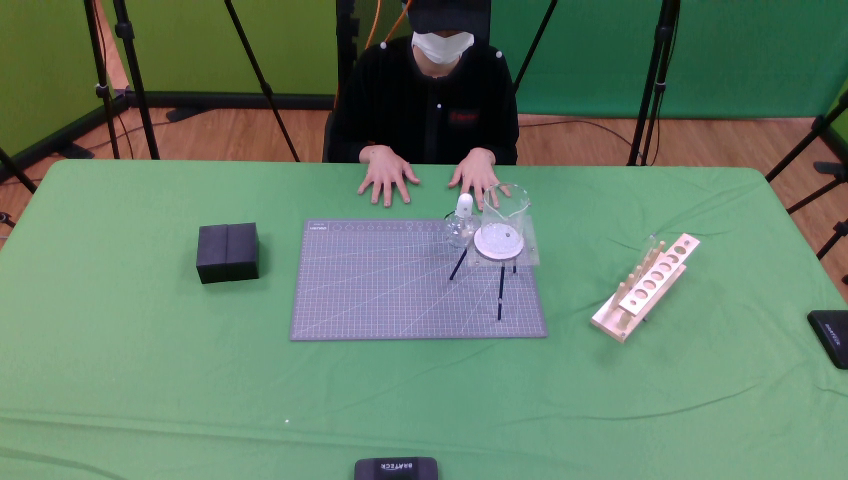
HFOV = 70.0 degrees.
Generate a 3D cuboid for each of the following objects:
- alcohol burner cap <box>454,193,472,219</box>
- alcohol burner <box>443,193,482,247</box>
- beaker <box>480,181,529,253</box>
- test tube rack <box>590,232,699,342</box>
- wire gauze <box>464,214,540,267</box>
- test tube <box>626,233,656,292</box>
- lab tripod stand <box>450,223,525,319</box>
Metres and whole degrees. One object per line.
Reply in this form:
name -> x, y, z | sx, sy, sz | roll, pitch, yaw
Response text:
alcohol burner cap -> 0.076, -0.068, 1.151 | 0.034, 0.048, 0.033 | 3, 46, -3
alcohol burner -> 0.075, -0.044, 1.177 | 0.078, 0.120, 0.077 | 1, 44, -1
beaker -> 0.130, -0.033, 0.998 | 0.074, 0.101, 0.083 | 5, 47, 4
test tube rack -> 0.407, 0.074, 1.112 | 0.066, 0.085, 0.242 | 35, 53, 26
wire gauze -> 0.131, -0.001, 1.035 | 0.121, 0.011, 0.124 | 1, 44, -3
test tube -> 0.384, 0.042, 1.079 | 0.017, 0.151, 0.017 | 1, 47, -1
lab tripod stand -> 0.120, 0.046, 1.080 | 0.148, 0.132, 0.147 | 1, 47, -1
